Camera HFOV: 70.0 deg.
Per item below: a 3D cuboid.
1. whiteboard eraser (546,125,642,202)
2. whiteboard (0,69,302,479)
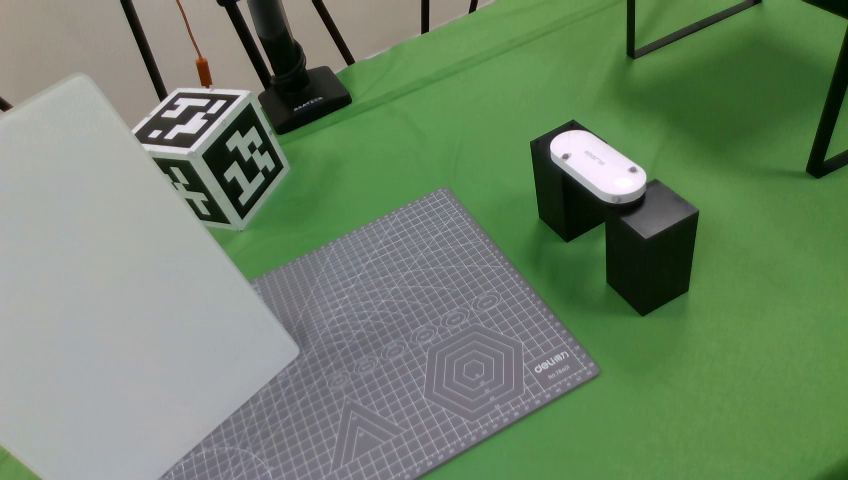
[{"bbox_3d":[0.143,-0.068,0.518,0.041,0.019,0.100,-28,46,-12],"label":"whiteboard eraser"},{"bbox_3d":[-0.296,0.046,0.525,0.217,0.308,0.142,-42,30,-21],"label":"whiteboard"}]
